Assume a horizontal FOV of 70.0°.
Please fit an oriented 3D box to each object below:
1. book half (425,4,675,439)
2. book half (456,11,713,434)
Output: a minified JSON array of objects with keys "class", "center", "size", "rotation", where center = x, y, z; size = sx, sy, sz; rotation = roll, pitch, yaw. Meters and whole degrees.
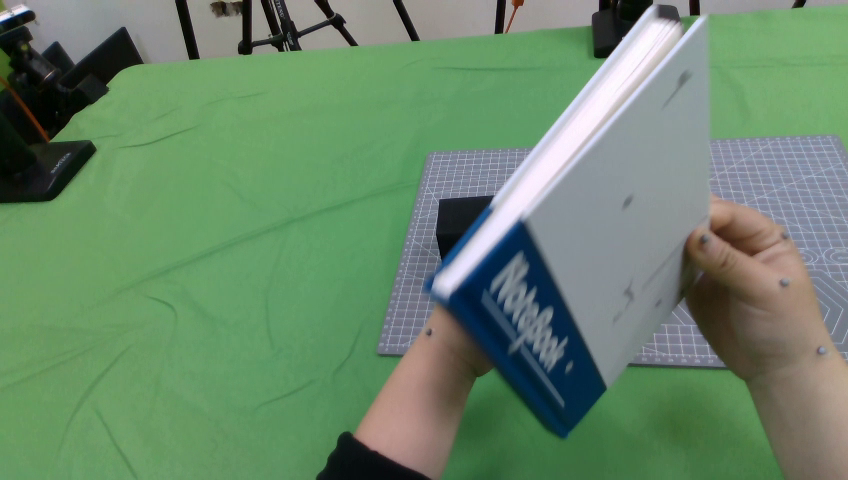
[{"class":"book half","center":[0.087,0.015,0.309],"size":[0.016,0.212,0.148],"rotation":[32,76,36]},{"class":"book half","center":[0.097,0.017,0.301],"size":[0.143,0.212,0.007],"rotation":[-46,52,-8]}]
